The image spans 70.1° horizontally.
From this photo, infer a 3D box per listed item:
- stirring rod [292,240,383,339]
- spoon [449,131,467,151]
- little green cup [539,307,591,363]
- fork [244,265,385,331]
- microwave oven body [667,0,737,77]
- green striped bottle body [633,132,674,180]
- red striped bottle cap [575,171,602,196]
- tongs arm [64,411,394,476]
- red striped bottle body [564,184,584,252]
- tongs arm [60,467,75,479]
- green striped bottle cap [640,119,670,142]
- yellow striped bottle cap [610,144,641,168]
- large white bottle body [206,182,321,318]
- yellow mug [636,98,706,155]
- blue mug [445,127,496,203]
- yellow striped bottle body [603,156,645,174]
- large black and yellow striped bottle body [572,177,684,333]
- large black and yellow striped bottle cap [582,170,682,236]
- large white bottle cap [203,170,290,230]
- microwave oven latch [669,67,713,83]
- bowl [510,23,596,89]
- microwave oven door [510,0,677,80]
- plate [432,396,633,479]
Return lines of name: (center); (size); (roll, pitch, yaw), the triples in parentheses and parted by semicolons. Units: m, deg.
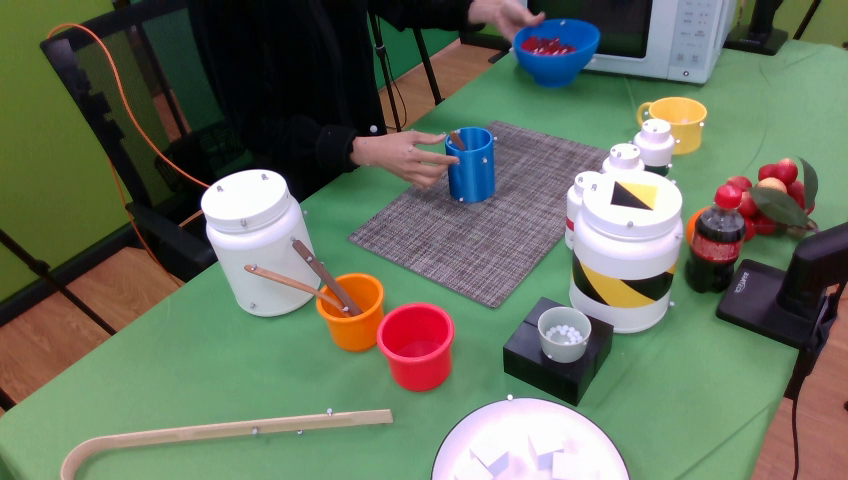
stirring rod: (-0.118, 0.068, 0.826); (0.176, 0.006, 0.014); (49, 59, -4)
spoon: (0.066, -0.145, 0.999); (0.041, 0.195, 0.021); (-1, 76, 16)
little green cup: (0.167, 0.114, 0.721); (0.061, 0.039, 0.061); (-4, 43, 4)
fork: (-0.142, 0.078, 0.806); (0.209, 0.018, 0.028); (30, 33, -24)
microwave oven body: (0.462, -0.552, 1.369); (0.439, 0.261, 0.326); (15, 45, 26)
green striped bottle body: (0.376, -0.135, 1.001); (0.063, 0.120, 0.063); (-5, 40, 5)
red striped bottle cap: (0.242, -0.081, 0.876); (0.044, 0.018, 0.044); (-5, 44, 5)
tongs arm: (-0.228, 0.241, 0.715); (0.385, 0.026, 0.050); (-5, 43, 4)
red striped bottle body: (0.247, -0.041, 0.910); (0.063, 0.120, 0.062); (-3, 39, 3)
tongs arm: (-0.239, 0.301, 0.648); (0.386, 0.028, 0.028); (6, 49, 16)
green striped bottle cap: (0.370, -0.174, 0.968); (0.044, 0.020, 0.044); (-3, 41, 3)
yellow striped bottle cap: (0.307, -0.128, 0.923); (0.044, 0.019, 0.044); (-5, 39, 5)
large white bottle body: (-0.233, 0.007, 0.876); (0.130, 0.185, 0.130); (-5, 40, 4)
yellow mug: (0.453, -0.217, 1.128); (0.100, 0.064, 0.129); (-34, 46, -27)
blue mug: (0.082, -0.140, 1.059); (0.082, 0.106, 0.116); (-3, 40, 5)
yellow striped bottle body: (0.313, -0.089, 0.956); (0.063, 0.121, 0.062); (-4, 40, 4)
large black and yellow striped bottle body: (0.262, 0.017, 0.788); (0.131, 0.185, 0.130); (-5, 40, 4)
large black and yellow striped bottle cap: (0.252, -0.048, 0.735); (0.115, 0.019, 0.114); (-3, 40, 3)
large white bottle cap: (-0.241, -0.057, 0.822); (0.115, 0.018, 0.114); (-4, 40, 4)
microwave oven latch: (0.556, -0.348, 1.261); (0.078, 0.029, 0.030); (16, 46, 27)
bowl: (0.233, -0.326, 1.097); (0.151, 0.077, 0.150); (-5, 41, 5)
microwave oven door: (0.354, -0.478, 1.291); (0.353, 0.245, 0.039); (15, 45, 25)
plate: (0.112, 0.261, 0.634); (0.209, 0.038, 0.208); (-5, 40, 4)
